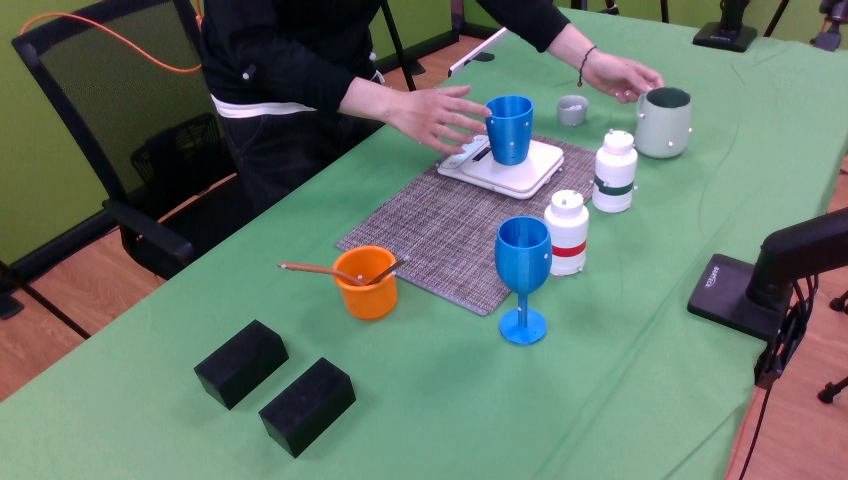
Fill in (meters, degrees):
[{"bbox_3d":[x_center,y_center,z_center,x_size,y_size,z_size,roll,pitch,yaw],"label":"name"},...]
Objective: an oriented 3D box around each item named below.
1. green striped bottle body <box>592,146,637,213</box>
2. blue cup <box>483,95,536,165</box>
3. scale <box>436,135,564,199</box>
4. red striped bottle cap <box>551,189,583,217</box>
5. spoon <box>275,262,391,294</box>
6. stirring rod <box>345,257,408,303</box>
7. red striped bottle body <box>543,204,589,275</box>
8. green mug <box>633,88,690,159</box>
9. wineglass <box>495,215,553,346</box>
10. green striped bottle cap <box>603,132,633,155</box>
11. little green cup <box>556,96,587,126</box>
[{"bbox_3d":[0.307,-0.108,0.976,0.063,0.120,0.063,-4,41,4],"label":"green striped bottle body"},{"bbox_3d":[0.148,-0.188,1.053,0.092,0.100,0.092,-6,39,5],"label":"blue cup"},{"bbox_3d":[0.137,-0.142,1.101,0.199,0.032,0.149,22,48,30],"label":"scale"},{"bbox_3d":[0.200,-0.052,0.843,0.044,0.018,0.044,-2,43,2],"label":"red striped bottle cap"},{"bbox_3d":[-0.120,0.050,0.830,0.041,0.195,0.021,31,97,45],"label":"spoon"},{"bbox_3d":[-0.067,0.056,0.814,0.014,0.175,0.006,-22,81,-38],"label":"stirring rod"},{"bbox_3d":[0.206,-0.011,0.877,0.063,0.120,0.062,-5,41,4],"label":"red striped bottle body"},{"bbox_3d":[0.423,-0.218,1.099,0.093,0.105,0.124,-16,41,-10],"label":"green mug"},{"bbox_3d":[0.127,0.054,0.770,0.074,0.173,0.073,-4,40,4],"label":"wineglass"},{"bbox_3d":[0.302,-0.149,0.939,0.044,0.020,0.044,-3,40,3],"label":"green striped bottle cap"},{"bbox_3d":[0.295,-0.257,1.214,0.061,0.039,0.061,-5,41,5],"label":"little green cup"}]
